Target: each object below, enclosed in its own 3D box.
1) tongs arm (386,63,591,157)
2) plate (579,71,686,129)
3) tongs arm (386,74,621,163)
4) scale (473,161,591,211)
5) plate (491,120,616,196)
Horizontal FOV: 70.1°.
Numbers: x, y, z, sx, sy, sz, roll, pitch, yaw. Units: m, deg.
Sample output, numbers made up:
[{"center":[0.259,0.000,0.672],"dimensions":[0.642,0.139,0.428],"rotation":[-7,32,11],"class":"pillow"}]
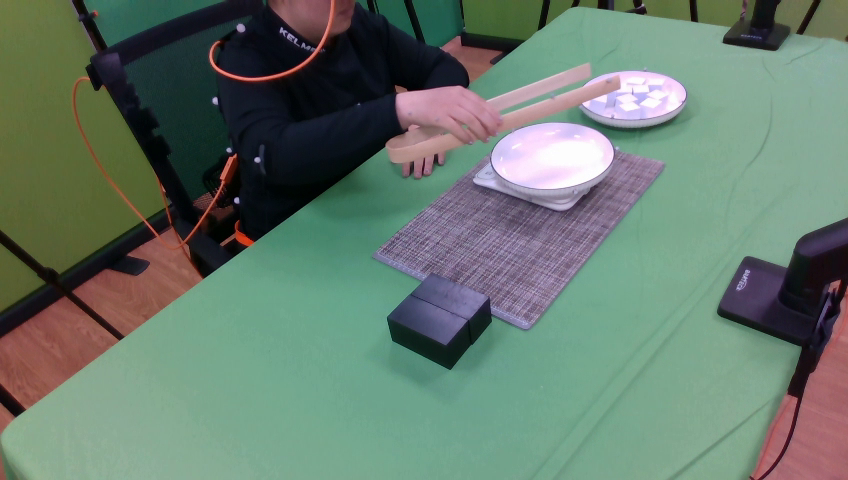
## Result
[{"center":[0.112,-0.217,0.994],"dimensions":[0.389,0.028,0.028],"rotation":[-23,38,-12],"class":"tongs arm"},{"center":[0.416,-0.279,1.222],"dimensions":[0.209,0.038,0.208],"rotation":[-5,41,5],"class":"plate"},{"center":[0.128,-0.194,0.951],"dimensions":[0.386,0.026,0.050],"rotation":[-21,34,-9],"class":"tongs arm"},{"center":[0.202,-0.121,1.074],"dimensions":[0.199,0.032,0.149],"rotation":[23,49,33],"class":"scale"},{"center":[0.221,-0.137,1.038],"dimensions":[0.207,0.039,0.206],"rotation":[-6,41,5],"class":"plate"}]
